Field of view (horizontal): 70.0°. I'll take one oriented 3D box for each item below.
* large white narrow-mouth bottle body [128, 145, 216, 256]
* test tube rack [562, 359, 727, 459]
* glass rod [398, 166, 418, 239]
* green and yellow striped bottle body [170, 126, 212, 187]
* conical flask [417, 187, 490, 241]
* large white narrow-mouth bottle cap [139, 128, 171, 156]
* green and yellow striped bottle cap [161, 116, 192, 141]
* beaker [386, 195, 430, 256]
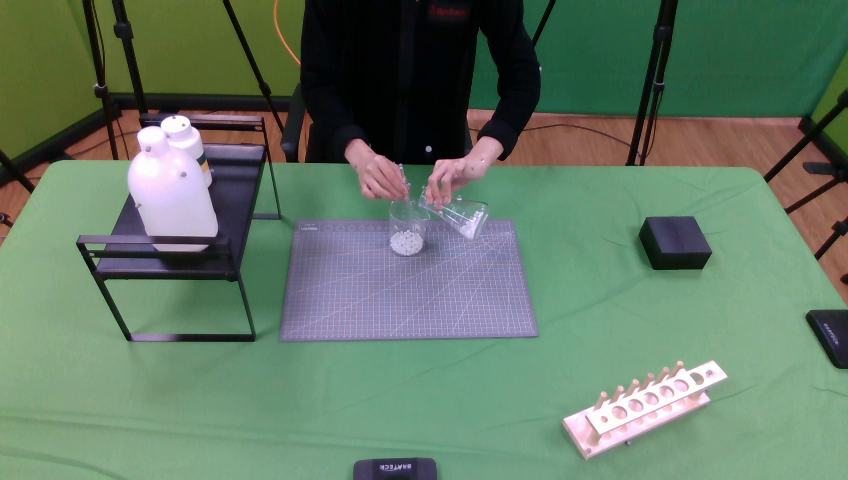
[{"bbox_3d":[-0.366,-0.073,0.872,0.102,0.195,0.101,3,47,-3],"label":"large white narrow-mouth bottle body"},{"bbox_3d":[0.341,0.247,0.940,0.243,0.085,0.066,-16,49,-18],"label":"test tube rack"},{"bbox_3d":[-0.028,-0.065,1.122,0.008,0.201,0.008,-5,51,6],"label":"glass rod"},{"bbox_3d":[-0.389,-0.139,0.984,0.063,0.120,0.063,2,46,-2],"label":"green and yellow striped bottle body"},{"bbox_3d":[0.049,-0.054,1.078,0.121,0.075,0.075,25,49,12],"label":"conical flask"},{"bbox_3d":[-0.358,-0.131,0.808,0.038,0.024,0.037,3,47,-3],"label":"large white narrow-mouth bottle cap"},{"bbox_3d":[-0.387,-0.174,0.946,0.045,0.020,0.045,3,44,-3],"label":"green and yellow striped bottle cap"},{"bbox_3d":[-0.031,-0.024,1.161,0.084,0.101,0.073,18,48,12],"label":"beaker"}]
